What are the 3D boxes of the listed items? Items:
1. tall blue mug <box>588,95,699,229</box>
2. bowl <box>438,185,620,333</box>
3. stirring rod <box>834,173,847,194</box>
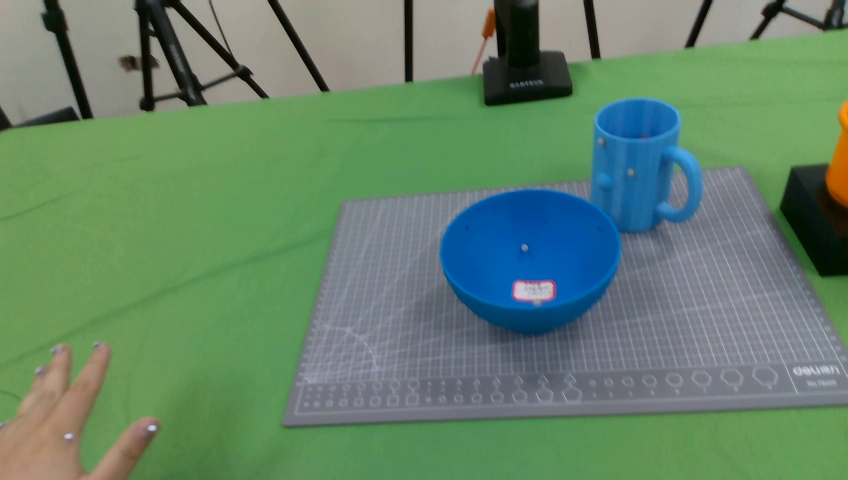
[{"bbox_3d":[0.215,-0.072,0.587,0.106,0.109,0.077,14,47,26],"label":"tall blue mug"},{"bbox_3d":[0.091,0.028,0.528,0.151,0.077,0.150,-6,42,6],"label":"bowl"},{"bbox_3d":[0.410,-0.101,0.484,0.176,0.006,0.014,-47,36,25],"label":"stirring rod"}]
